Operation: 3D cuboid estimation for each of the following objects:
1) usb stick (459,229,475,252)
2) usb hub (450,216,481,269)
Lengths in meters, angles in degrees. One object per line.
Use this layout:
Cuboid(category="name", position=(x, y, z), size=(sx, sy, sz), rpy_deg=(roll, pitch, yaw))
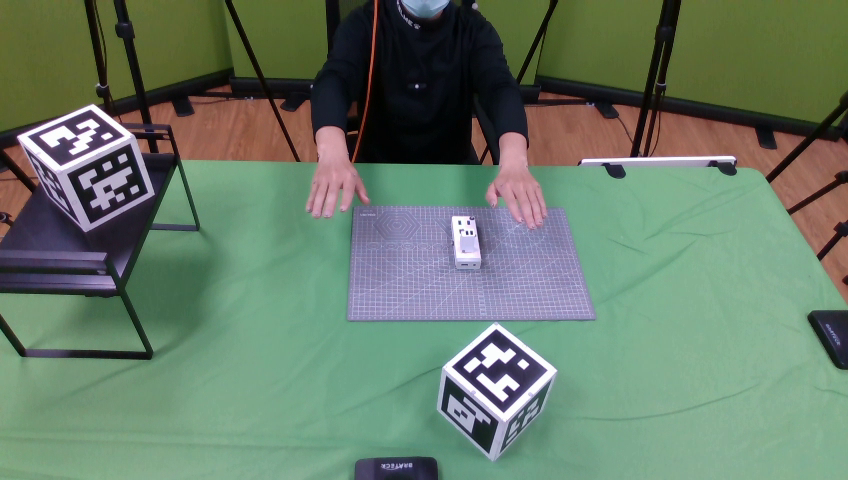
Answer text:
Cuboid(category="usb stick", position=(0.081, 0.006, 1.151), size=(0.027, 0.059, 0.021), rpy_deg=(-1, 45, -6))
Cuboid(category="usb hub", position=(0.082, 0.003, 1.194), size=(0.049, 0.025, 0.124), rpy_deg=(0, 46, -4))
